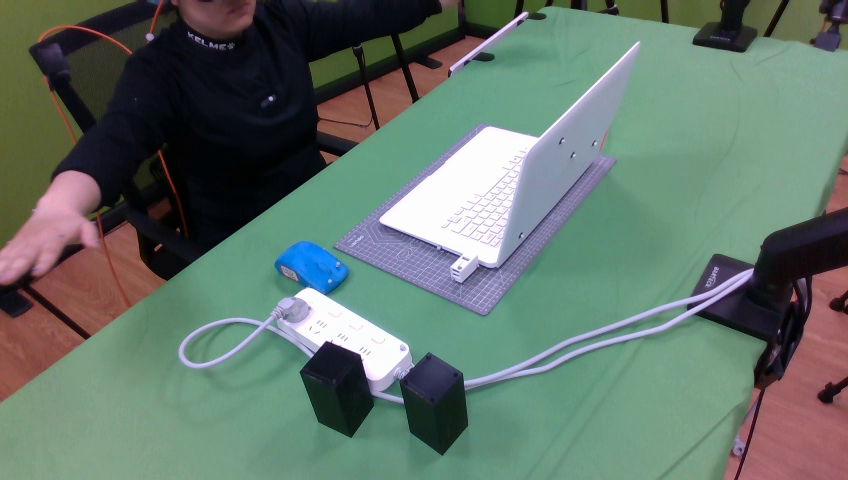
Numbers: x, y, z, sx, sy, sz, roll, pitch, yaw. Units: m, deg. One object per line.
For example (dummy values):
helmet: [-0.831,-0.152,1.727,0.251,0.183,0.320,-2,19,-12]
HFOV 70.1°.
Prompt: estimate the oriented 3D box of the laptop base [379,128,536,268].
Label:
laptop base: [0.118,-0.088,1.058,0.233,0.023,0.355,19,47,32]

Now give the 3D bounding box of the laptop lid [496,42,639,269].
laptop lid: [0.220,-0.130,0.913,0.013,0.242,0.357,31,51,21]

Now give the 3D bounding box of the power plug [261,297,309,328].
power plug: [-0.193,0.107,0.831,0.073,0.053,0.035,-32,43,-25]

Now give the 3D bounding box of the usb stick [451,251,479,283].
usb stick: [0.065,0.036,0.900,0.021,0.027,0.059,24,46,31]

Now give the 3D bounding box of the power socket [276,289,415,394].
power socket: [-0.114,0.133,0.820,0.225,0.033,0.072,25,49,33]

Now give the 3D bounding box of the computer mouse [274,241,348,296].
computer mouse: [-0.176,0.040,0.936,0.116,0.041,0.063,27,48,27]
